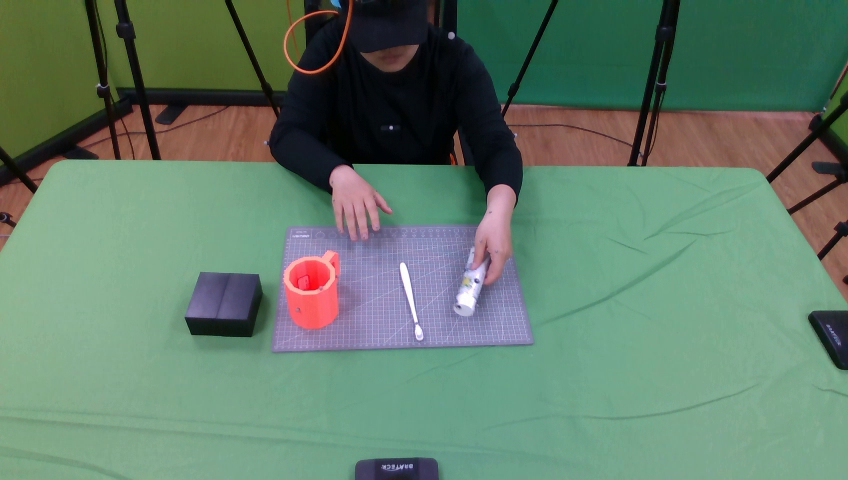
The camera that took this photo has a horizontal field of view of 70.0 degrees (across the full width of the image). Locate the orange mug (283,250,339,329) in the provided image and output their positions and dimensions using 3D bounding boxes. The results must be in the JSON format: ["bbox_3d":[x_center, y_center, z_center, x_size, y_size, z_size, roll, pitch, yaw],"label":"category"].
[{"bbox_3d":[-0.186,0.079,1.052,0.083,0.101,0.126,20,52,15],"label":"orange mug"}]

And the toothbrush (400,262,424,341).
[{"bbox_3d":[-0.025,0.106,1.093,0.014,0.017,0.180,-17,46,1],"label":"toothbrush"}]

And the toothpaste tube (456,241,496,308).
[{"bbox_3d":[0.092,0.063,1.103,0.055,0.035,0.164,-10,39,29],"label":"toothpaste tube"}]

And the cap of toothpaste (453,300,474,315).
[{"bbox_3d":[0.068,0.116,1.051,0.037,0.037,0.011,13,47,9],"label":"cap of toothpaste"}]
